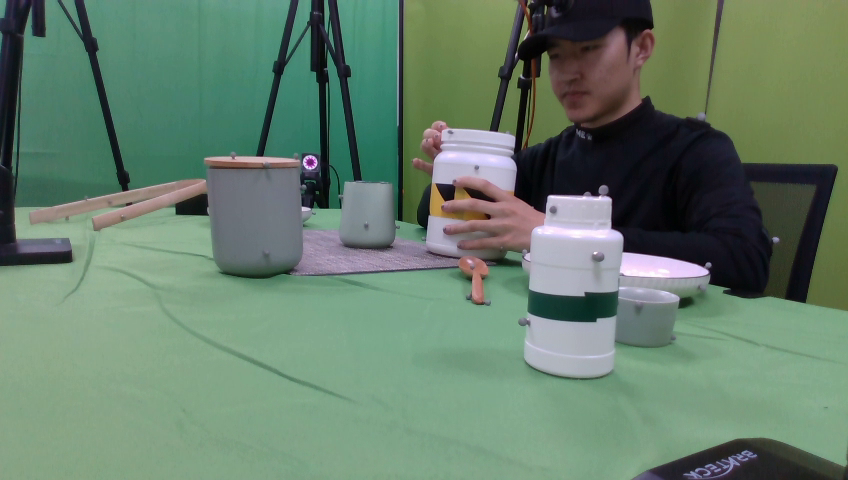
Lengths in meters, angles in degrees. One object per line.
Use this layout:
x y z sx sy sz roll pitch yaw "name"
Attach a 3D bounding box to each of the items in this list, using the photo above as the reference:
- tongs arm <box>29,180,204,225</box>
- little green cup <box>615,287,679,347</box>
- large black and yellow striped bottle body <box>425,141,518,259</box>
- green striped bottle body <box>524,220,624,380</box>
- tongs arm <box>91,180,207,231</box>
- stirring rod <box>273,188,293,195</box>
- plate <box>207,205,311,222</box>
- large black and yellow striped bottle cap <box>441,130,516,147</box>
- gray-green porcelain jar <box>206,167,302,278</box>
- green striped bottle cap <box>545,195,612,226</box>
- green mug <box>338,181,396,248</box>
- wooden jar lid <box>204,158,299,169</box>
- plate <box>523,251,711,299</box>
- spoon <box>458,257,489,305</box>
-0.609 -0.083 1.245 0.050 0.026 0.386 4 16 23 "tongs arm"
0.180 0.064 0.506 0.061 0.038 0.061 1 8 0 "little green cup"
0.075 -0.069 0.933 0.131 0.184 0.130 6 5 0 "large black and yellow striped bottle body"
0.104 0.031 0.422 0.063 0.119 0.063 2 8 0 "green striped bottle body"
-0.534 -0.076 1.221 0.028 0.028 0.388 -2 15 12 "tongs arm"
-0.353 -0.122 1.518 0.006 0.014 0.176 2 7 2 "stirring rod"
-0.342 -0.050 1.259 0.208 0.039 0.207 3 7 0 "plate"
0.084 -0.155 0.924 0.115 0.019 0.115 4 6 0 "large black and yellow striped bottle cap"
-0.201 -0.024 0.725 0.106 0.126 0.106 -1 9 1 "gray-green porcelain jar"
0.105 -0.020 0.415 0.044 0.020 0.044 2 5 0 "green striped bottle cap"
-0.098 -0.044 0.995 0.093 0.105 0.125 -1 8 -21 "green mug"
-0.203 -0.086 0.714 0.108 0.020 0.108 3 11 0 "wooden jar lid"
0.219 0.041 0.706 0.209 0.038 0.209 2 7 0 "plate"
0.059 0.044 0.695 0.041 0.021 0.194 19 7 0 "spoon"
